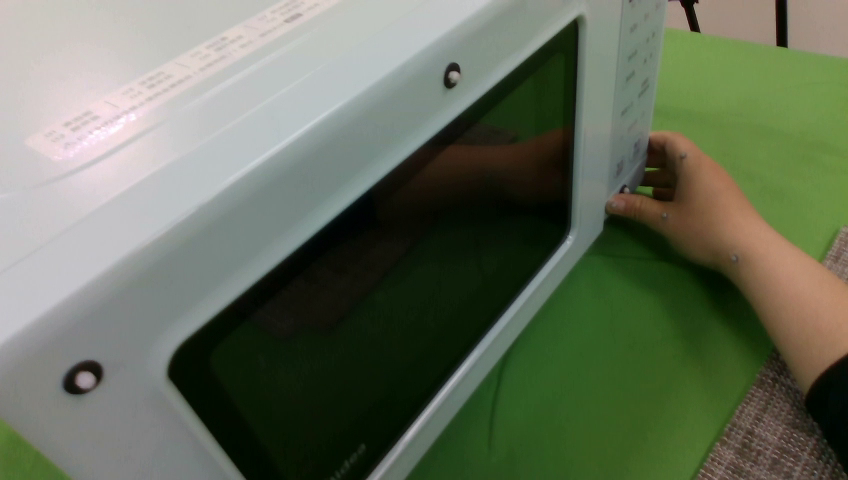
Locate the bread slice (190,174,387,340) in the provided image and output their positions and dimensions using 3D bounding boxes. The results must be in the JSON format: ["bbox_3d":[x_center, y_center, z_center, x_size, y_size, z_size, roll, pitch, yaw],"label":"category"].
[{"bbox_3d":[-0.095,0.000,0.441,0.131,0.019,0.104,-40,51,-21],"label":"bread slice"}]

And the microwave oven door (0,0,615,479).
[{"bbox_3d":[0.003,0.007,0.321,0.039,0.246,0.355,24,53,32],"label":"microwave oven door"}]

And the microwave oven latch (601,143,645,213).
[{"bbox_3d":[0.154,-0.052,0.503,0.030,0.030,0.079,29,56,34],"label":"microwave oven latch"}]

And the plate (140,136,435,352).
[{"bbox_3d":[-0.093,-0.002,0.435,0.209,0.038,0.207,-6,43,6],"label":"plate"}]

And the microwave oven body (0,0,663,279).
[{"bbox_3d":[-0.084,-0.064,0.422,0.323,0.263,0.440,24,54,31],"label":"microwave oven body"}]
